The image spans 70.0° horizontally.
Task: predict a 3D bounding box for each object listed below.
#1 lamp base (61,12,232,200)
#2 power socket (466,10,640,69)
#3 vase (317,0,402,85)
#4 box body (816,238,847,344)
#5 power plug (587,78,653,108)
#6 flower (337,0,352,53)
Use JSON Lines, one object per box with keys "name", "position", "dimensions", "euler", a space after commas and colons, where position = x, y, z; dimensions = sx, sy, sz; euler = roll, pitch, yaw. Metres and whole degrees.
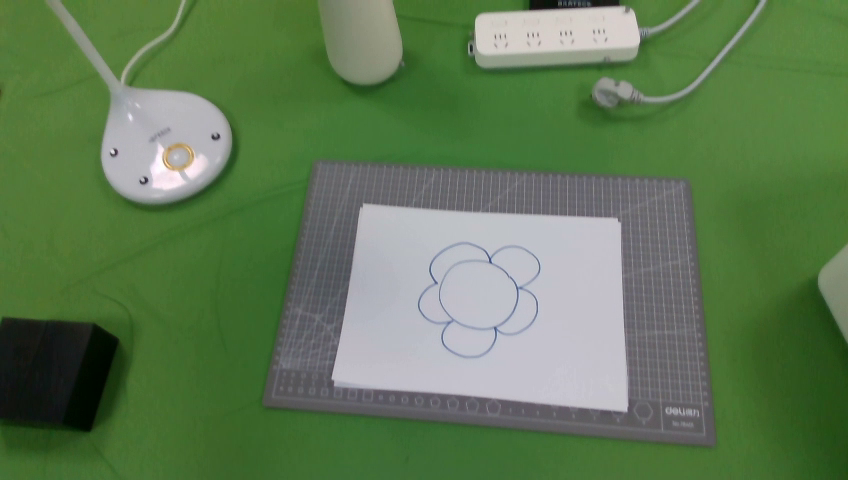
{"name": "lamp base", "position": [-0.334, -0.160, 0.691], "dimensions": [0.178, 0.182, 0.160], "euler": [35, 70, 21]}
{"name": "power socket", "position": [0.169, -0.264, 0.796], "dimensions": [0.227, 0.033, 0.071], "euler": [-1, 65, 2]}
{"name": "vase", "position": [-0.083, -0.281, 0.725], "dimensions": [0.098, 0.201, 0.097], "euler": [-2, 63, 4]}
{"name": "box body", "position": [0.555, 0.121, 0.516], "dimensions": [0.254, 0.161, 0.360], "euler": [-13, 64, -3]}
{"name": "power plug", "position": [0.236, -0.170, 0.746], "dimensions": [0.073, 0.052, 0.035], "euler": [37, 78, -10]}
{"name": "flower", "position": [-0.069, -0.308, 0.646], "dimensions": [0.044, 0.362, 0.038], "euler": [-36, 84, -23]}
